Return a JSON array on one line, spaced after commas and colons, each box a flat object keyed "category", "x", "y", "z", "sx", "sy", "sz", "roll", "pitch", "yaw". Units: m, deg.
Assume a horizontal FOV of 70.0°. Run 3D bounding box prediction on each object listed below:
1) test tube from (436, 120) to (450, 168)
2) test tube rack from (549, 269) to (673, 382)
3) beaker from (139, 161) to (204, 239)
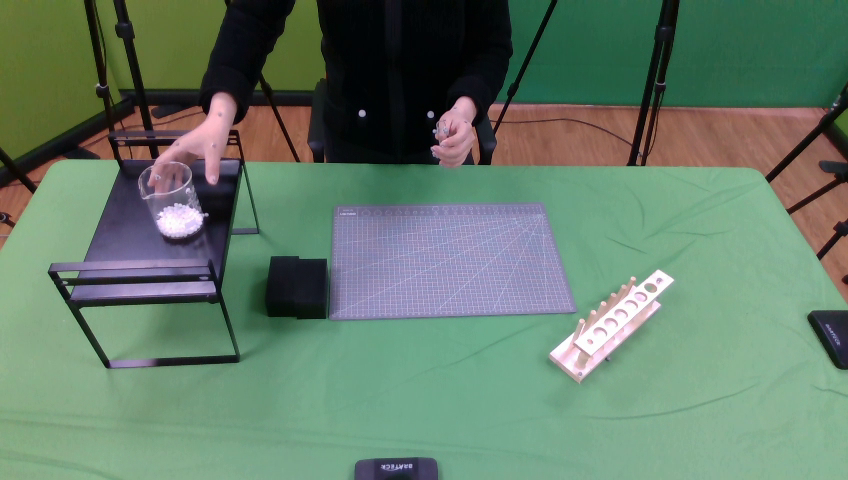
[{"category": "test tube", "x": 0.033, "y": -0.161, "z": 1.036, "sx": 0.017, "sy": 0.151, "sz": 0.017, "roll": -2, "pitch": 71, "yaw": 5}, {"category": "test tube rack", "x": 0.325, "y": 0.134, "z": 1.048, "sx": 0.242, "sy": 0.085, "sz": 0.066, "roll": -32, "pitch": 56, "yaw": -30}, {"category": "beaker", "x": -0.381, "y": -0.056, "z": 0.920, "sx": 0.074, "sy": 0.101, "sz": 0.084, "roll": 22, "pitch": 49, "yaw": 18}]
